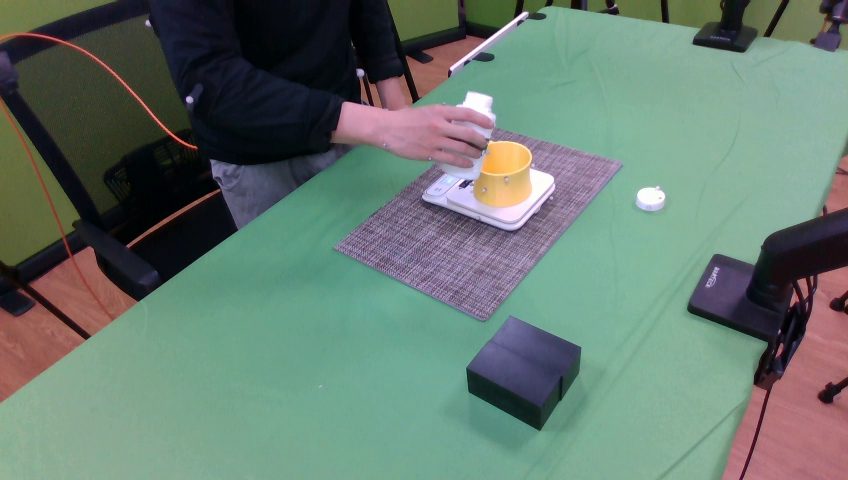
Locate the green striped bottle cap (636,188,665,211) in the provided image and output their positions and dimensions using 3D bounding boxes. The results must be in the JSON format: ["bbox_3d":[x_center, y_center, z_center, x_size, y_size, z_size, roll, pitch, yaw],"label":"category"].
[{"bbox_3d":[0.374,-0.067,0.998,0.044,0.020,0.044,-6,39,5],"label":"green striped bottle cap"}]

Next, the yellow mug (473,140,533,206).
[{"bbox_3d":[0.125,-0.121,1.004,0.100,0.064,0.130,-13,40,-5],"label":"yellow mug"}]

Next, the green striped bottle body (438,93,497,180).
[{"bbox_3d":[0.067,-0.153,0.889,0.063,0.119,0.063,15,19,-5],"label":"green striped bottle body"}]

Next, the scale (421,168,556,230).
[{"bbox_3d":[0.110,-0.089,1.042,0.199,0.032,0.149,23,48,31],"label":"scale"}]
